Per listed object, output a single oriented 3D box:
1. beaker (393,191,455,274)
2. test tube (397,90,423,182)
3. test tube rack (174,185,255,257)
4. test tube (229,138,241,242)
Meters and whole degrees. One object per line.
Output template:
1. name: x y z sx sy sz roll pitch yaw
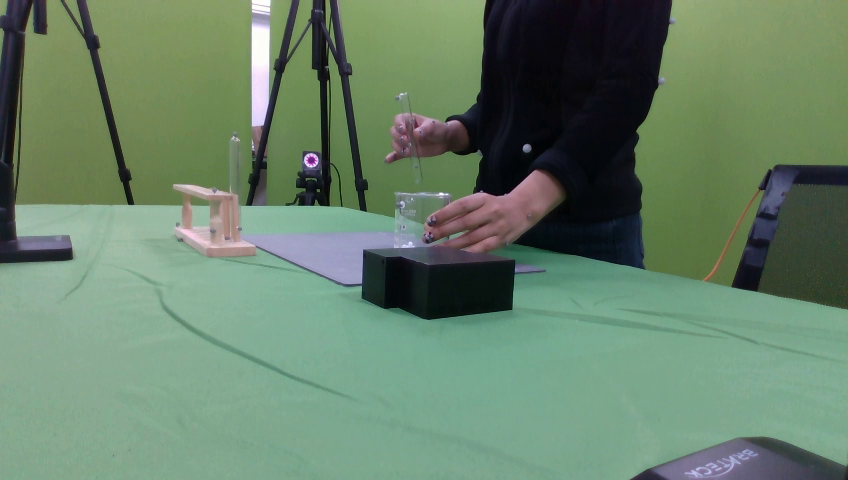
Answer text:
1. beaker: -0.004 -0.011 0.760 0.074 0.100 0.083 -3 8 -35
2. test tube: -0.022 -0.169 0.990 0.017 0.150 0.017 -10 13 3
3. test tube rack: -0.324 -0.035 0.922 0.067 0.085 0.241 -2 9 -32
4. test tube: -0.270 -0.071 0.866 0.017 0.150 0.017 2 8 0
